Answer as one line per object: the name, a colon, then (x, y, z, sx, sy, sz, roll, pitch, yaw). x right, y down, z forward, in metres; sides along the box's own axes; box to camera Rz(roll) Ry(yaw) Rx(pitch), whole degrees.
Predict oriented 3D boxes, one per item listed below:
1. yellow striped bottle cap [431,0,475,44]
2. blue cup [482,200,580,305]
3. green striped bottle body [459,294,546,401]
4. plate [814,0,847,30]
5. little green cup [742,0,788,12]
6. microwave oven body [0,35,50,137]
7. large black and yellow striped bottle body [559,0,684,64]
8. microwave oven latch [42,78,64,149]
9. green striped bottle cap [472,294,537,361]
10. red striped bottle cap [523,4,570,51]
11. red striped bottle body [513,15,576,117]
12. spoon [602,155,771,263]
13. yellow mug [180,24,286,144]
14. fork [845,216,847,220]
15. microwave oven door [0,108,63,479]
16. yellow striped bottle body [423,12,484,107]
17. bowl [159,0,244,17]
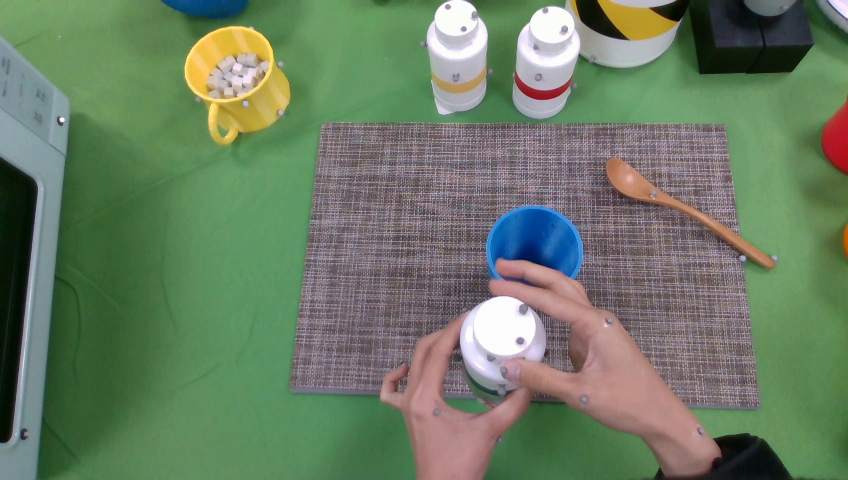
yellow striped bottle cap: (0.029, -0.218, 0.601, 0.044, 0.019, 0.044, -1, 72, 3)
blue cup: (0.095, 0.022, 0.573, 0.092, 0.101, 0.092, -1, 70, 3)
green striped bottle body: (0.059, 0.083, 0.467, 0.063, 0.120, 0.062, -1, 65, 3)
plate: (0.537, -0.305, 0.692, 0.209, 0.038, 0.207, -1, 71, 4)
little green cup: (0.367, -0.275, 0.641, 0.061, 0.039, 0.061, -1, 69, 3)
microwave oven body: (-0.562, 0.011, 0.541, 0.326, 0.262, 0.438, -8, 71, 1)
large black and yellow striped bottle body: (0.217, -0.290, 0.633, 0.131, 0.185, 0.130, -1, 70, 4)
microwave oven latch: (-0.430, -0.142, 0.687, 0.030, 0.030, 0.078, -6, 71, 2)
green striped bottle cap: (0.056, 0.061, 0.421, 0.044, 0.020, 0.044, -7, 61, 13)
red striped bottle cap: (0.120, -0.207, 0.590, 0.044, 0.018, 0.044, 0, 69, 0)
red striped bottle body: (0.125, -0.189, 0.639, 0.063, 0.120, 0.062, -3, 68, 8)
spoon: (0.267, -0.031, 0.621, 0.193, 0.022, 0.041, 32, 51, 13)
yellow mug: (-0.218, -0.170, 0.686, 0.100, 0.064, 0.130, 11, 72, 7)
fork: (0.475, 0.007, 0.529, 0.028, 0.019, 0.205, -37, 28, -8)
microwave oven door: (-0.413, 0.029, 0.519, 0.039, 0.245, 0.353, -8, 70, 2)
yellow striped bottle body: (0.033, -0.201, 0.649, 0.063, 0.121, 0.062, -2, 70, 5)
bowl: (-0.266, -0.329, 0.738, 0.151, 0.077, 0.150, -1, 71, 3)
